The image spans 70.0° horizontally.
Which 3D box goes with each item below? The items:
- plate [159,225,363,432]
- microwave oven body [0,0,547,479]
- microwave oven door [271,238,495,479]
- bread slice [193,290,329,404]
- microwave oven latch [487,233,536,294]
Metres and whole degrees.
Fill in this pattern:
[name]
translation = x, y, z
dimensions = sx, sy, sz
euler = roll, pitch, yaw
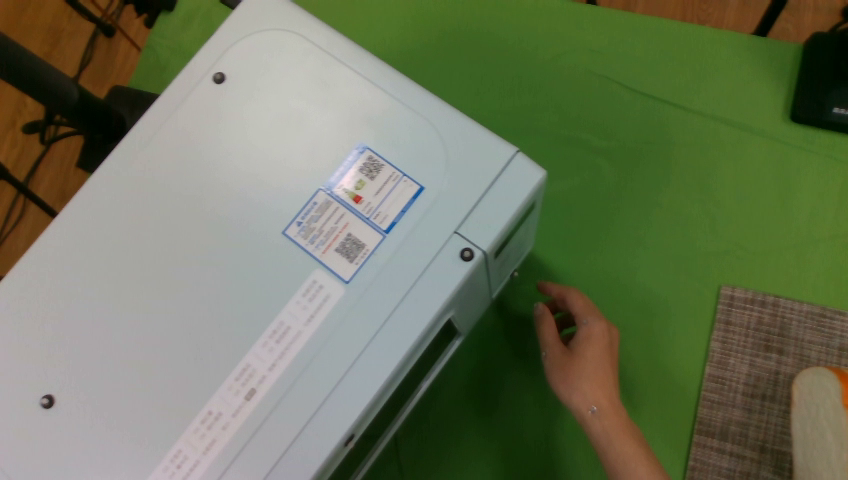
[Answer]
[plate]
translation = -0.163, 0.089, 0.623
dimensions = 0.207, 0.039, 0.206
euler = -1, 77, 4
[microwave oven body]
translation = -0.148, 0.052, 0.576
dimensions = 0.324, 0.261, 0.441
euler = 36, 84, 13
[microwave oven door]
translation = -0.059, 0.167, 0.532
dimensions = 0.039, 0.245, 0.355
euler = 35, 83, 15
[bread slice]
translation = -0.167, 0.116, 0.621
dimensions = 0.134, 0.018, 0.106
euler = -11, 76, -3
[microwave oven latch]
translation = 0.088, 0.019, 0.654
dimensions = 0.030, 0.029, 0.079
euler = 38, 84, 14
